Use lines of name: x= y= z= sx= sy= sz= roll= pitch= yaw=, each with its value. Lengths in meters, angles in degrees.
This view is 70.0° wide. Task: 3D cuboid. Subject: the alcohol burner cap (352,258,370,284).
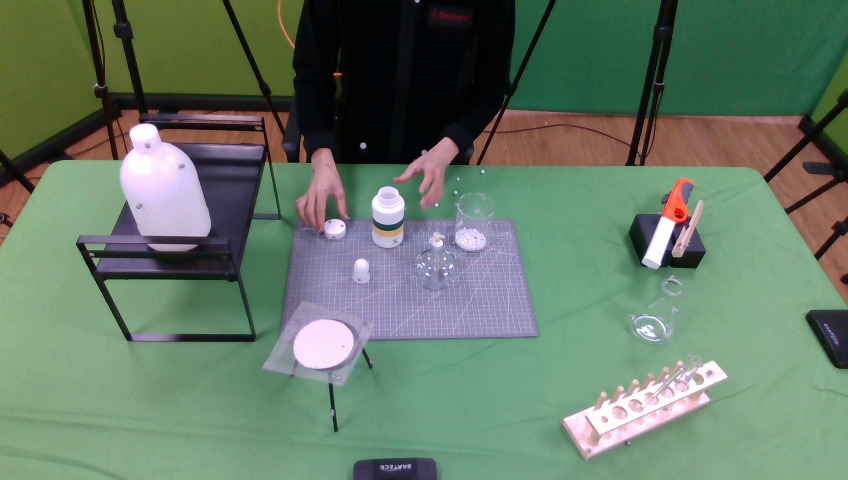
alcohol burner cap: x=-0.117 y=0.055 z=1.118 sx=0.034 sy=0.048 sz=0.033 roll=2 pitch=46 yaw=-1

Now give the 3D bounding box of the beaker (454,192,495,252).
beaker: x=0.097 y=-0.034 z=1.180 sx=0.074 sy=0.101 sz=0.084 roll=23 pitch=48 yaw=17

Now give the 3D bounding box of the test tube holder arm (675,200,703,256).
test tube holder arm: x=0.523 y=-0.025 z=1.190 sx=0.013 sy=0.015 sz=0.178 roll=1 pitch=36 yaw=41

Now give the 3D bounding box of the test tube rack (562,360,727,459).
test tube rack: x=0.341 y=0.247 z=0.940 sx=0.243 sy=0.085 sz=0.066 roll=-16 pitch=49 yaw=-18

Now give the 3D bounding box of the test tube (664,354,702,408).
test tube: x=0.385 y=0.215 z=0.906 sx=0.017 sy=0.151 sz=0.017 roll=-1 pitch=49 yaw=1

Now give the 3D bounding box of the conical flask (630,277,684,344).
conical flask: x=0.408 y=0.117 z=1.045 sx=0.075 sy=0.122 sz=0.075 roll=2 pitch=46 yaw=-2

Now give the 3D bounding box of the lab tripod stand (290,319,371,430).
lab tripod stand: x=-0.146 y=0.193 z=0.923 sx=0.148 sy=0.132 sz=0.147 roll=1 pitch=47 yaw=-1

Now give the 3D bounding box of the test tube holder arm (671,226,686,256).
test tube holder arm: x=0.494 y=0.001 z=1.167 sx=0.010 sy=0.015 sz=0.087 roll=1 pitch=36 yaw=42

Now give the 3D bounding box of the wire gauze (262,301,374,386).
wire gauze: x=-0.150 y=0.148 z=0.873 sx=0.121 sy=0.011 sz=0.124 roll=14 pitch=46 yaw=12

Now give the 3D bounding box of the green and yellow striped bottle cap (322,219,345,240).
green and yellow striped bottle cap: x=-0.180 y=-0.022 z=1.206 sx=0.045 sy=0.020 sz=0.045 roll=2 pitch=46 yaw=-2

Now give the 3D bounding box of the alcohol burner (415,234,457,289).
alcohol burner: x=0.022 y=0.033 z=1.099 sx=0.078 sy=0.120 sz=0.077 roll=1 pitch=47 yaw=-1

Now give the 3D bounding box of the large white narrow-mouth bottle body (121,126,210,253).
large white narrow-mouth bottle body: x=-0.378 y=-0.077 z=0.875 sx=0.102 sy=0.195 sz=0.101 roll=3 pitch=46 yaw=-3

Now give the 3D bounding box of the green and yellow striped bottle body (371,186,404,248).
green and yellow striped bottle body: x=-0.071 y=-0.047 z=1.165 sx=0.063 sy=0.120 sz=0.063 roll=2 pitch=46 yaw=-2

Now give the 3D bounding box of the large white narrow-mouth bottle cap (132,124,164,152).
large white narrow-mouth bottle cap: x=-0.371 y=-0.137 z=0.813 sx=0.038 sy=0.024 sz=0.037 roll=3 pitch=46 yaw=-3

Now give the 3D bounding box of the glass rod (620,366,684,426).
glass rod: x=0.322 y=0.227 z=0.866 sx=0.008 sy=0.200 sz=0.008 roll=5 pitch=51 yaw=-7

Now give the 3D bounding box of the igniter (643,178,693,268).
igniter: x=0.488 y=-0.042 z=1.205 sx=0.057 sy=0.025 sz=0.276 roll=30 pitch=51 yaw=11
